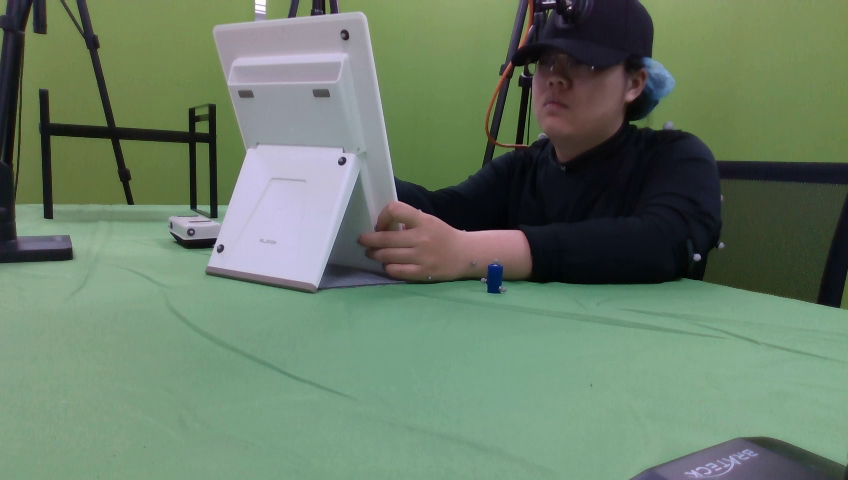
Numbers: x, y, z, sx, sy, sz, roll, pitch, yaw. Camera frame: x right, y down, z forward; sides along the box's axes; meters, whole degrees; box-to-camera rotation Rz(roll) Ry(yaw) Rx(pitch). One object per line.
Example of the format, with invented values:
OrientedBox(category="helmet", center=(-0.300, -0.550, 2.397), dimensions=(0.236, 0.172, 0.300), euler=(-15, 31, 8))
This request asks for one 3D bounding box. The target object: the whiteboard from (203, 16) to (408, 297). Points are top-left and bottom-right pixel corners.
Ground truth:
OrientedBox(category="whiteboard", center=(-0.166, -0.072, 0.668), dimensions=(0.216, 0.305, 0.144), euler=(8, 30, 30))

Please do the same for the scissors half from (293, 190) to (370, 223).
OrientedBox(category="scissors half", center=(-0.205, -0.077, 1.338), dimensions=(0.175, 0.040, 0.013), euler=(22, 11, -8))

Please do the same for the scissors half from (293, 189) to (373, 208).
OrientedBox(category="scissors half", center=(-0.201, -0.096, 1.332), dimensions=(0.175, 0.040, 0.013), euler=(4, 18, -4))

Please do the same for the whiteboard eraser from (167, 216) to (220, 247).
OrientedBox(category="whiteboard eraser", center=(-0.350, -0.013, 0.920), dimensions=(0.056, 0.042, 0.112), euler=(0, 7, -35))

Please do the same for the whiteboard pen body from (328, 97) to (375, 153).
OrientedBox(category="whiteboard pen body", center=(-0.091, -0.145, 0.757), dimensions=(0.017, 0.017, 0.141), euler=(5, 39, 17))

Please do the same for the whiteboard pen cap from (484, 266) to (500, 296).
OrientedBox(category="whiteboard pen cap", center=(0.075, 0.046, 0.668), dimensions=(0.018, 0.033, 0.018), euler=(3, 7, 0))
